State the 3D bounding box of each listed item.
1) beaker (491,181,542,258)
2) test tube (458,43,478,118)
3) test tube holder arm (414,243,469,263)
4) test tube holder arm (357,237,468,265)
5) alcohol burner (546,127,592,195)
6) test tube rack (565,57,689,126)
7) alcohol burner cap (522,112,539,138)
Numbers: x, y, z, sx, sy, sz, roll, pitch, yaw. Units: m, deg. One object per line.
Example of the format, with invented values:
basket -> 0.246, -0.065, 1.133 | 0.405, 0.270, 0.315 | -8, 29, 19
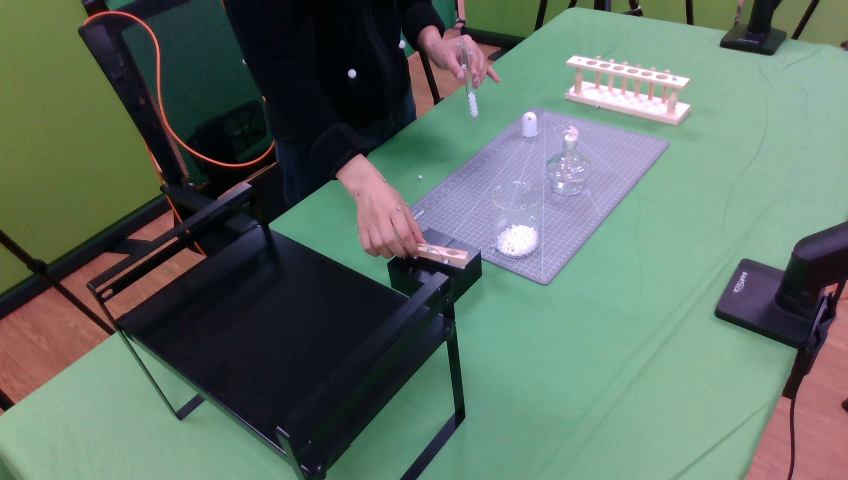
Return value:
beaker -> 0.144, -0.030, 0.925 | 0.073, 0.100, 0.084 | 23, 48, 31
test tube -> 0.080, -0.283, 1.085 | 0.017, 0.151, 0.017 | -8, 46, 9
test tube holder arm -> 0.023, 0.019, 0.866 | 0.087, 0.015, 0.010 | 10, 34, 24
test tube holder arm -> -0.020, 0.015, 0.880 | 0.177, 0.015, 0.013 | 9, 34, 23
alcohol burner -> 0.246, -0.137, 1.023 | 0.078, 0.119, 0.077 | -4, 38, 4
test tube rack -> 0.411, -0.311, 1.230 | 0.240, 0.085, 0.067 | 23, 49, 32
alcohol burner cap -> 0.210, -0.230, 1.195 | 0.034, 0.048, 0.033 | -6, 41, 6
